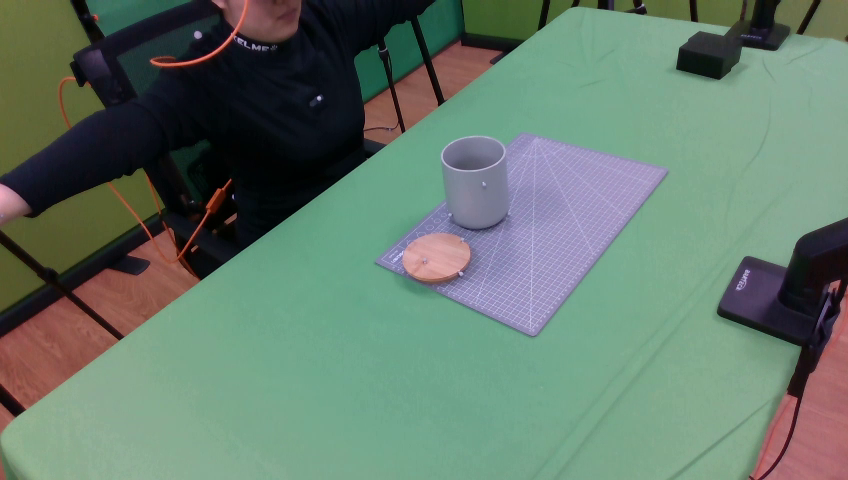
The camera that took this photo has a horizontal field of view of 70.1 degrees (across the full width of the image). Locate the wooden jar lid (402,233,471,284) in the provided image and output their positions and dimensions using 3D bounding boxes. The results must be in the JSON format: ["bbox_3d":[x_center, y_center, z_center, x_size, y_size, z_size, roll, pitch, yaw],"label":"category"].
[{"bbox_3d":[0.020,0.030,0.941,0.108,0.021,0.108,-4,40,4],"label":"wooden jar lid"}]

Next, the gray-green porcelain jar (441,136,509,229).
[{"bbox_3d":[0.086,-0.090,0.988,0.106,0.127,0.105,-5,40,5],"label":"gray-green porcelain jar"}]
